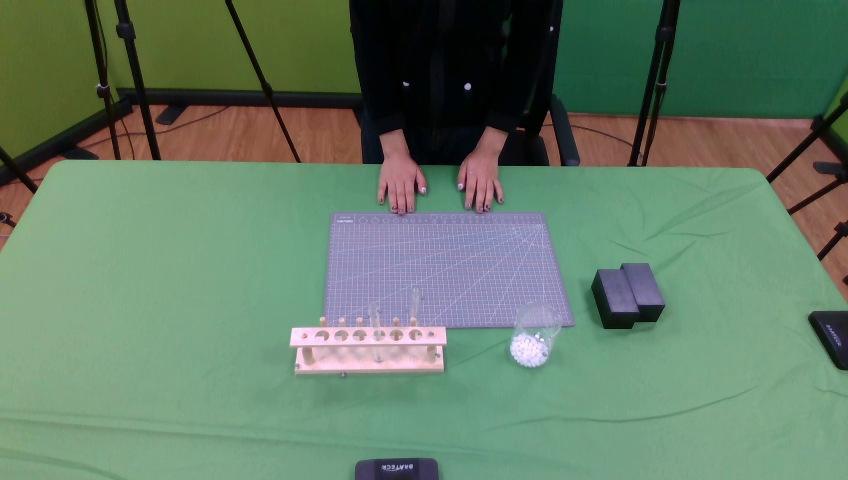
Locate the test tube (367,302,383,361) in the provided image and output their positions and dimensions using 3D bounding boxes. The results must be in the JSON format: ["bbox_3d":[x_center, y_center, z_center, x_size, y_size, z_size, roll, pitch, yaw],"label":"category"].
[{"bbox_3d":[-0.075,0.145,0.941,0.017,0.151,0.017,0,49,0],"label":"test tube"}]

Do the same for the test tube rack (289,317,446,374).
[{"bbox_3d":[-0.089,0.167,0.988,0.242,0.085,0.066,0,46,-4],"label":"test tube rack"}]

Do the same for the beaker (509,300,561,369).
[{"bbox_3d":[0.182,0.162,1.005,0.074,0.101,0.083,-4,47,-7],"label":"beaker"}]

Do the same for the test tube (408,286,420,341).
[{"bbox_3d":[-0.017,0.123,0.974,0.017,0.151,0.017,2,48,-2],"label":"test tube"}]
